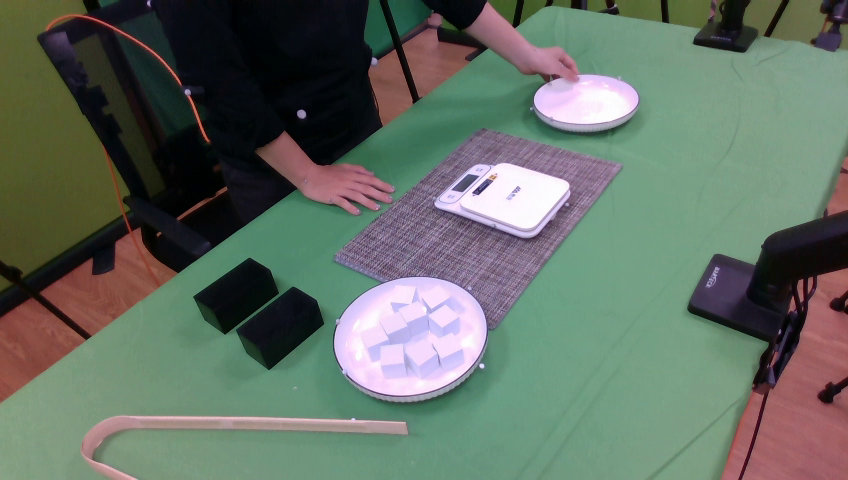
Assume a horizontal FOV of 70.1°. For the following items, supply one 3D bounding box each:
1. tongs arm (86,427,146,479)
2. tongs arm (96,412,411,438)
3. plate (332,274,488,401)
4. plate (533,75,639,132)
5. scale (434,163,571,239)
[{"bbox_3d":[-0.232,0.280,0.665,0.383,0.026,0.051,9,42,20],"label":"tongs arm"},{"bbox_3d":[-0.208,0.226,0.731,0.387,0.028,0.028,-1,44,8],"label":"tongs arm"},{"bbox_3d":[-0.017,0.130,0.808,0.207,0.039,0.206,-4,41,4],"label":"plate"},{"bbox_3d":[0.327,-0.272,1.228,0.209,0.038,0.208,-4,40,4],"label":"plate"},{"bbox_3d":[0.132,-0.075,1.025,0.199,0.032,0.149,22,48,30],"label":"scale"}]
